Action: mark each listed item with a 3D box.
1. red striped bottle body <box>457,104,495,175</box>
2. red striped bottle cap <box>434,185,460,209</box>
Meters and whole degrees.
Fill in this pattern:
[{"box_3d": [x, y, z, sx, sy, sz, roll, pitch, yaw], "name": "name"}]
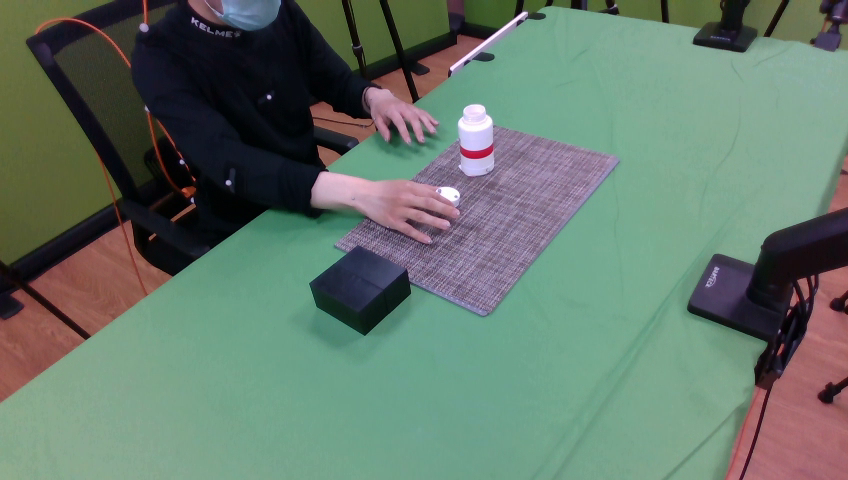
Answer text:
[{"box_3d": [0.093, -0.182, 1.085, 0.063, 0.120, 0.062, -4, 41, 4], "name": "red striped bottle body"}, {"box_3d": [0.040, -0.074, 1.035, 0.044, 0.018, 0.044, 3, 46, -2], "name": "red striped bottle cap"}]
